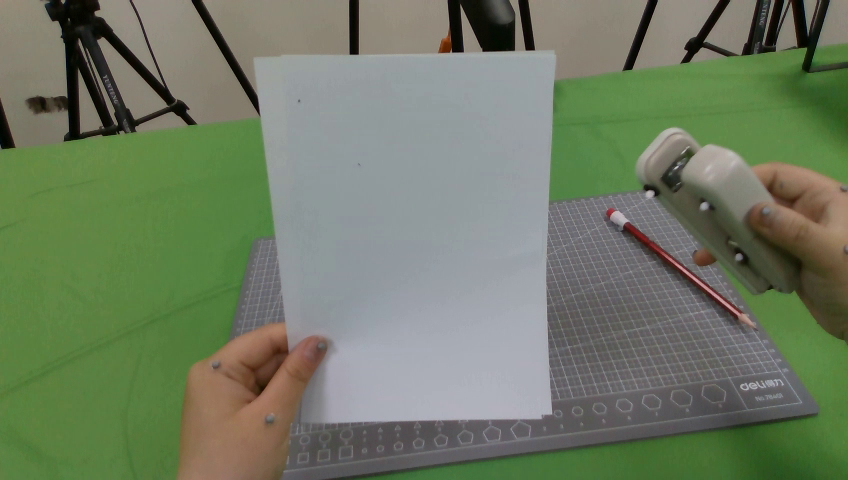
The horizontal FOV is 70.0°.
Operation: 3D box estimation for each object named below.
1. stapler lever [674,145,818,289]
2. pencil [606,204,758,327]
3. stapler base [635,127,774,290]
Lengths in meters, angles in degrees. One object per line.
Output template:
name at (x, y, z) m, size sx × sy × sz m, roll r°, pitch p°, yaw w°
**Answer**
stapler lever at (0.195, -0.011, 0.357) m, size 0.027 × 0.119 × 0.040 m, roll -50°, pitch 16°, yaw 6°
pencil at (0.231, 0.018, 0.558) m, size 0.012 × 0.012 × 0.192 m, roll -19°, pitch 41°, yaw -15°
stapler base at (0.189, -0.017, 0.380) m, size 0.041 × 0.131 × 0.024 m, roll -50°, pitch 17°, yaw 6°
